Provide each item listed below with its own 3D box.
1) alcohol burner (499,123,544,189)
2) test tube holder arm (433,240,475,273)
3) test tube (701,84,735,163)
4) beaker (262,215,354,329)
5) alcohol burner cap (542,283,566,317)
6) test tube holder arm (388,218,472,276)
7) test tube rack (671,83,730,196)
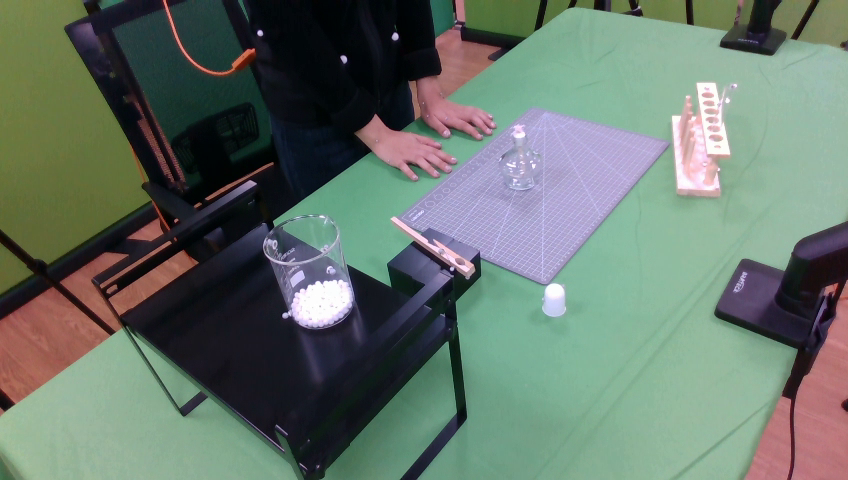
[{"bbox_3d":[0.168,-0.149,1.048,0.078,0.119,0.077,-6,41,5],"label":"alcohol burner"},{"bbox_3d":[0.039,0.024,0.871,0.010,0.015,0.087,-33,46,-28],"label":"test tube holder arm"},{"bbox_3d":[0.483,-0.189,0.996,0.017,0.151,0.017,-2,46,3],"label":"test tube"},{"bbox_3d":[-0.112,0.034,0.616,0.073,0.101,0.084,13,44,23],"label":"beaker"},{"bbox_3d":[0.181,0.081,0.839,0.034,0.048,0.033,-4,40,4],"label":"alcohol burner cap"},{"bbox_3d":[0.005,0.008,0.895,0.013,0.015,0.177,-35,46,-29],"label":"test tube holder arm"},{"bbox_3d":[0.482,-0.184,1.067,0.066,0.085,0.242,5,42,15],"label":"test tube rack"}]
